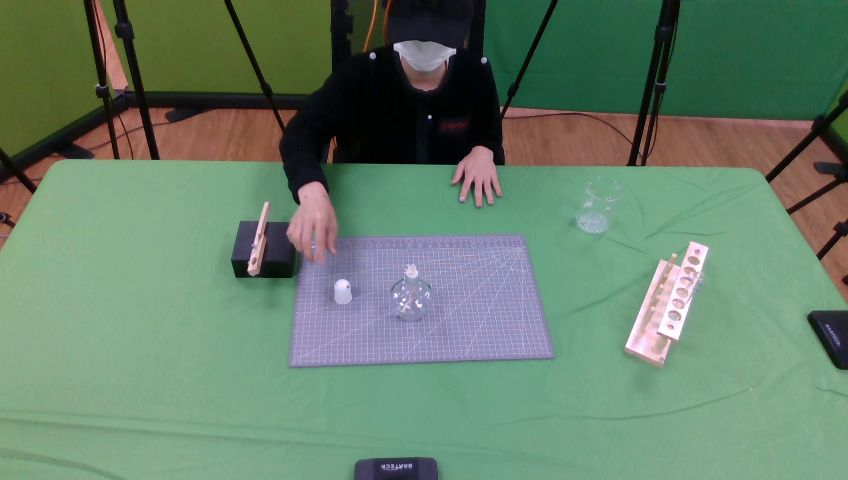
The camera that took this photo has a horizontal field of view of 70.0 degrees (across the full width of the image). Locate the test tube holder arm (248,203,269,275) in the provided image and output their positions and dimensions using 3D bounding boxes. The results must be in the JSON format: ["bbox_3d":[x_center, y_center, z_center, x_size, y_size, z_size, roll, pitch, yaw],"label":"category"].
[{"bbox_3d":[-0.305,-0.006,1.116,0.013,0.015,0.177,-6,46,1],"label":"test tube holder arm"}]

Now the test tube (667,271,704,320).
[{"bbox_3d":[0.432,0.104,1.019,0.017,0.151,0.017,3,48,-3],"label":"test tube"}]

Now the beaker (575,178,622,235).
[{"bbox_3d":[0.356,-0.068,1.240,0.084,0.101,0.073,-18,50,-21],"label":"beaker"}]

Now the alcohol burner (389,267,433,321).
[{"bbox_3d":[-0.022,0.085,1.046,0.078,0.119,0.077,2,48,-3],"label":"alcohol burner"}]

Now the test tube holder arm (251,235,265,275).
[{"bbox_3d":[-0.297,0.025,1.085,0.010,0.015,0.087,-5,46,2],"label":"test tube holder arm"}]

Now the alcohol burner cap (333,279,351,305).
[{"bbox_3d":[-0.148,0.090,1.083,0.034,0.048,0.033,3,46,-3],"label":"alcohol burner cap"}]

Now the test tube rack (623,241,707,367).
[{"bbox_3d":[0.435,0.104,1.089,0.066,0.085,0.242,24,49,18],"label":"test tube rack"}]
